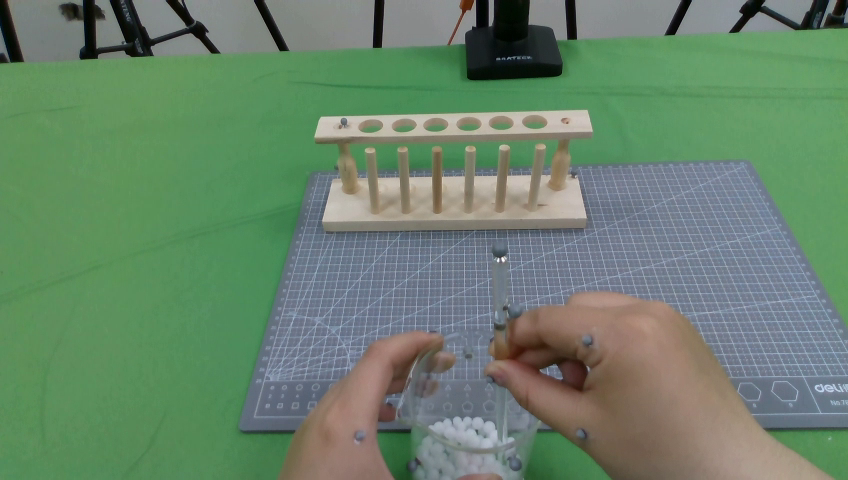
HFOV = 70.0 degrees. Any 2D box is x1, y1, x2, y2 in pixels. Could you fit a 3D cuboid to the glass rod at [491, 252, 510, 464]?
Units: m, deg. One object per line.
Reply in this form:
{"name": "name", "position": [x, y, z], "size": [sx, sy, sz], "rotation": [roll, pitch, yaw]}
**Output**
{"name": "glass rod", "position": [0.041, 0.074, 0.313], "size": [0.008, 0.202, 0.008], "rotation": [-4, 47, 5]}

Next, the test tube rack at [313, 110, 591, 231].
{"name": "test tube rack", "position": [0.025, -0.062, 0.554], "size": [0.242, 0.086, 0.066], "rotation": [0, 44, 4]}

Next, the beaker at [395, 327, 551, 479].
{"name": "beaker", "position": [0.024, 0.111, 0.350], "size": [0.084, 0.101, 0.073], "rotation": [-14, 46, -15]}
